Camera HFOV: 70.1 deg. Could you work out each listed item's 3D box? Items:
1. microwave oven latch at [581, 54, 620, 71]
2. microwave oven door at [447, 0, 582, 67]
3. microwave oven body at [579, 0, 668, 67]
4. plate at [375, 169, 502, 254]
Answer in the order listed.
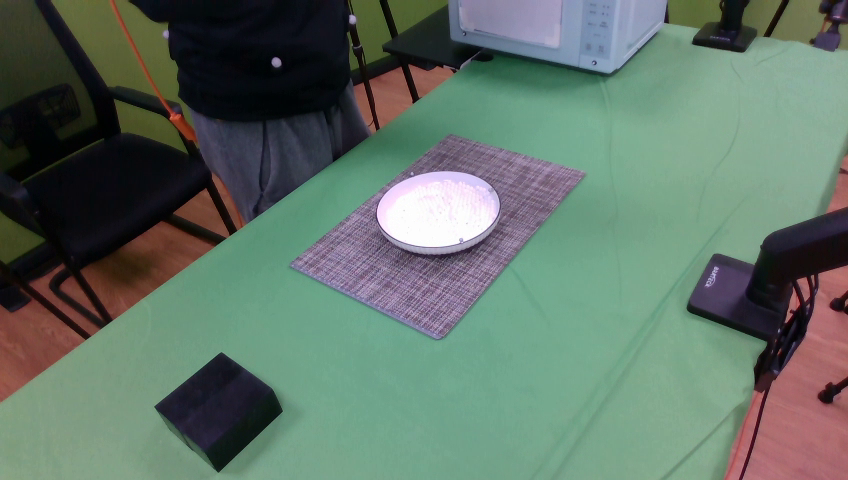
[{"bbox_3d":[0.386,-0.393,1.329,0.078,0.029,0.030,24,51,32],"label":"microwave oven latch"},{"bbox_3d":[0.203,-0.544,1.372,0.353,0.245,0.039,23,49,29],"label":"microwave oven door"},{"bbox_3d":[0.325,-0.609,1.437,0.438,0.261,0.327,23,50,30],"label":"microwave oven body"},{"bbox_3d":[0.024,-0.044,0.998,0.209,0.038,0.208,-4,41,4],"label":"plate"}]
